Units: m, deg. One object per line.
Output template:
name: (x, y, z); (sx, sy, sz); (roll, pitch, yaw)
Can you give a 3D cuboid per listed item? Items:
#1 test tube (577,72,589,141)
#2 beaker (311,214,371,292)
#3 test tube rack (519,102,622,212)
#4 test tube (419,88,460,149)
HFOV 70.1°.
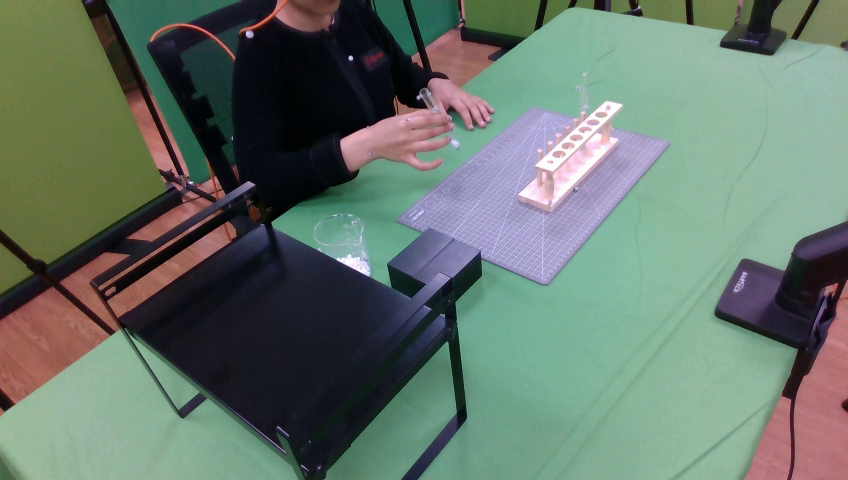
test tube: (0.284, -0.233, 1.084); (0.017, 0.151, 0.017); (-5, 44, 6)
beaker: (-0.118, 0.022, 0.908); (0.083, 0.101, 0.074); (26, 51, 32)
test tube rack: (0.260, -0.155, 1.065); (0.066, 0.085, 0.243); (24, 50, 32)
test tube: (0.029, -0.204, 1.033); (0.017, 0.151, 0.017); (-13, 56, 21)
